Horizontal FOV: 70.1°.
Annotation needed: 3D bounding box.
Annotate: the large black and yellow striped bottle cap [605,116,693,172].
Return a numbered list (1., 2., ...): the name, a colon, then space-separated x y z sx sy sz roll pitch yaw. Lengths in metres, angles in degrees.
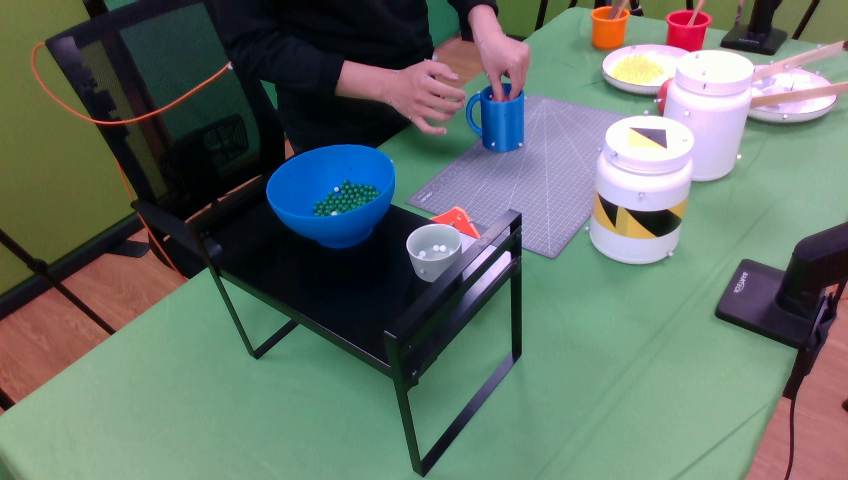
1. large black and yellow striped bottle cap: 0.309 -0.134 0.833 0.115 0.019 0.114 -5 40 5

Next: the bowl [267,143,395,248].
1. bowl: -0.104 -0.043 0.726 0.151 0.077 0.150 -4 41 4

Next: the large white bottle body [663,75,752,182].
1. large white bottle body: 0.472 -0.207 1.022 0.130 0.185 0.130 -4 41 4

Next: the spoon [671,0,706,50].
1. spoon: 0.628 -0.520 1.394 0.041 0.022 0.193 30 97 34

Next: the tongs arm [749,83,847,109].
1. tongs arm: 0.734 -0.280 1.133 0.388 0.028 0.028 -9 47 -5

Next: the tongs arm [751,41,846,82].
1. tongs arm: 0.708 -0.331 1.194 0.386 0.026 0.050 -18 45 -16

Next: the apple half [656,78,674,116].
1. apple half: 0.488 -0.281 1.192 0.053 0.075 0.081 24 54 37

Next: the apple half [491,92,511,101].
1. apple half: 0.141 -0.240 1.151 0.033 0.081 0.080 -10 39 -20

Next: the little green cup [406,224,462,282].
1. little green cup: 0.012 0.015 0.668 0.061 0.039 0.061 -4 40 4

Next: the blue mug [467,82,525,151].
1. blue mug: 0.138 -0.241 1.169 0.116 0.106 0.082 10 44 21

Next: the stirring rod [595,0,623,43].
1. stirring rod: 0.460 -0.556 1.460 0.014 0.006 0.176 30 93 23

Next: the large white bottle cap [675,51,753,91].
1. large white bottle cap: 0.463 -0.271 0.967 0.115 0.018 0.114 -4 40 3

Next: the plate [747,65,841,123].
1. plate: 0.695 -0.283 1.189 0.207 0.039 0.206 -4 40 4

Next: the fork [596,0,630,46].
1. fork: 0.481 -0.556 1.452 0.028 0.019 0.207 40 103 40

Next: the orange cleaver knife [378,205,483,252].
1. orange cleaver knife: 0.005 -0.010 0.944 0.210 0.077 0.012 -5 23 47

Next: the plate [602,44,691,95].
1. plate: 0.495 -0.367 1.317 0.209 0.038 0.208 -4 40 4

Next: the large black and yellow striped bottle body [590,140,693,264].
1. large black and yellow striped bottle body: 0.317 -0.071 0.889 0.131 0.185 0.130 -4 41 4
